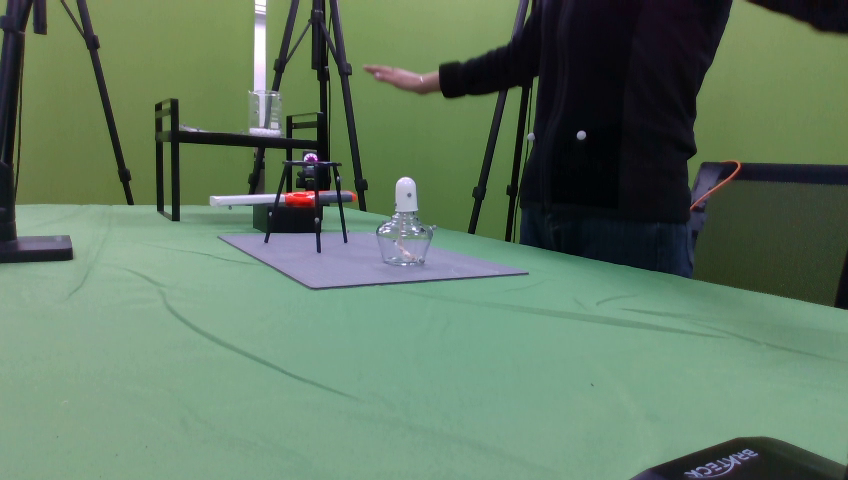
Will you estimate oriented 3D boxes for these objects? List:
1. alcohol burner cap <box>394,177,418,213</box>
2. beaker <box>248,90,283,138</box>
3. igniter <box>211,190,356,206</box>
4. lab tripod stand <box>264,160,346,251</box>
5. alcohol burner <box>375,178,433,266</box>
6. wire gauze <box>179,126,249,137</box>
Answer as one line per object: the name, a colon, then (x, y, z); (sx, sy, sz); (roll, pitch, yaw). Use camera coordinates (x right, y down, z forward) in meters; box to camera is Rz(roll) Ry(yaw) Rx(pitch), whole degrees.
alcohol burner cap: (-0.025, -0.060, 0.809); (0.034, 0.048, 0.034); (-4, 10, 1)
beaker: (-0.354, -0.278, 1.340); (0.074, 0.100, 0.084); (6, 9, 26)
igniter: (-0.260, -0.080, 1.152); (0.278, 0.025, 0.057); (-5, 13, -34)
lab tripod stand: (-0.177, -0.057, 0.929); (0.148, 0.131, 0.148); (1, 9, 0)
alcohol burner: (-0.026, -0.025, 0.815); (0.078, 0.119, 0.078); (5, 7, 0)
wire gauze: (-0.439, -0.227, 1.266); (0.122, 0.011, 0.124); (0, 9, -34)
